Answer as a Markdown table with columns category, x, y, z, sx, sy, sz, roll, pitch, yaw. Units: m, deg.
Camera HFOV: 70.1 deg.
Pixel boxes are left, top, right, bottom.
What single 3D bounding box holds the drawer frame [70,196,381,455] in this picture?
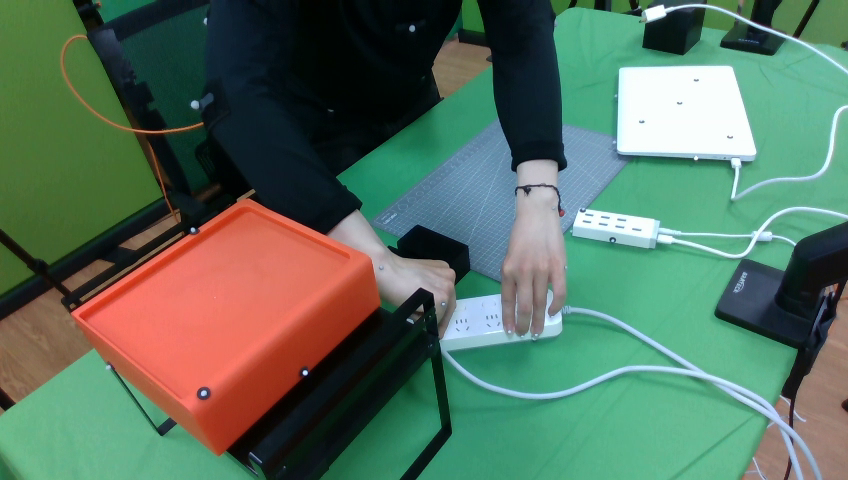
| category | x | y | z | sx | sy | sz | roll | pitch | yaw |
| --- | --- | --- | --- | --- | --- | --- | --- | --- | --- |
| drawer frame | -0.186 | 0.068 | 0.597 | 0.200 | 0.083 | 0.214 | 23 | 49 | 30 |

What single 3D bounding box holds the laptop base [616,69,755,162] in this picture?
| category | x | y | z | sx | sy | sz | roll | pitch | yaw |
| --- | --- | --- | --- | --- | --- | --- | --- | --- | --- |
| laptop base | 0.506 | -0.256 | 1.204 | 0.235 | 0.023 | 0.353 | 3 | 41 | 15 |

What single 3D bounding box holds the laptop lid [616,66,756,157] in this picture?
| category | x | y | z | sx | sy | sz | roll | pitch | yaw |
| --- | --- | --- | --- | --- | --- | --- | --- | --- | --- |
| laptop lid | 0.503 | -0.265 | 1.196 | 0.241 | 0.013 | 0.356 | 5 | 41 | 16 |

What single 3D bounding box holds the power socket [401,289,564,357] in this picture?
| category | x | y | z | sx | sy | sz | roll | pitch | yaw |
| --- | --- | --- | --- | --- | --- | --- | --- | --- | --- |
| power socket | 0.080 | 0.112 | 0.823 | 0.227 | 0.033 | 0.072 | -7 | 41 | -1 |

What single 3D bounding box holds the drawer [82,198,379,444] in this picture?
| category | x | y | z | sx | sy | sz | roll | pitch | yaw |
| --- | --- | --- | --- | --- | --- | --- | --- | --- | --- |
| drawer | -0.185 | 0.066 | 0.601 | 0.193 | 0.073 | 0.212 | 24 | 50 | 31 |

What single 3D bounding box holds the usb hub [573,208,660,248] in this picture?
| category | x | y | z | sx | sy | sz | roll | pitch | yaw |
| --- | --- | --- | --- | --- | --- | --- | --- | --- | --- |
| usb hub | 0.301 | -0.019 | 0.950 | 0.124 | 0.025 | 0.049 | 11 | 42 | 20 |

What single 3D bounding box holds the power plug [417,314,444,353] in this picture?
| category | x | y | z | sx | sy | sz | roll | pitch | yaw |
| --- | --- | --- | --- | --- | --- | --- | --- | --- | --- |
| power plug | 0.006 | 0.128 | 0.787 | 0.035 | 0.053 | 0.072 | 0 | 45 | 9 |

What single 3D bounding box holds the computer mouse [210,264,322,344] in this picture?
| category | x | y | z | sx | sy | sz | roll | pitch | yaw |
| --- | --- | --- | --- | --- | --- | --- | --- | --- | --- |
| computer mouse | -0.165 | 0.062 | 0.625 | 0.116 | 0.041 | 0.063 | 22 | 44 | 27 |

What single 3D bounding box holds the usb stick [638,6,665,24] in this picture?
| category | x | y | z | sx | sy | sz | roll | pitch | yaw |
| --- | --- | --- | --- | --- | --- | --- | --- | --- | --- |
| usb stick | 0.503 | -0.499 | 1.347 | 0.059 | 0.027 | 0.021 | -21 | 5 | -2 |
